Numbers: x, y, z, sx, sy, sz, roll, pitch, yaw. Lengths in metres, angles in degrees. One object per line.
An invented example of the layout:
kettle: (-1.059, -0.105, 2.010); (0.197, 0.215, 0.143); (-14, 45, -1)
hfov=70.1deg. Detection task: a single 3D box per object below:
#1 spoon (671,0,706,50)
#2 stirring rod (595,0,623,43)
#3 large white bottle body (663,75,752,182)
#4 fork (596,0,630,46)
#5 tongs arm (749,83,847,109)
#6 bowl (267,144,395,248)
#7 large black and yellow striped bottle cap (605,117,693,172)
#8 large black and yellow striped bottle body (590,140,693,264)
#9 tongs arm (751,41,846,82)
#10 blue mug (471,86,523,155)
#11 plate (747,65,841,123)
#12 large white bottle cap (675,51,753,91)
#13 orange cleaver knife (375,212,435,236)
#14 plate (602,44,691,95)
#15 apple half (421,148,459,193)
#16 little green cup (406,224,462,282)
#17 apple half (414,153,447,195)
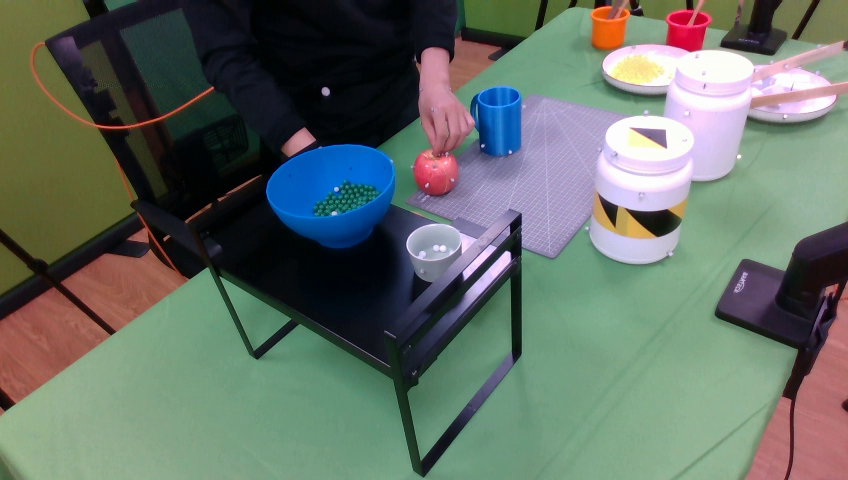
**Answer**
spoon: (0.628, -0.520, 1.394); (0.041, 0.022, 0.193); (30, 96, 34)
stirring rod: (0.460, -0.556, 1.460); (0.014, 0.006, 0.176); (30, 94, 23)
large white bottle body: (0.472, -0.207, 1.022); (0.130, 0.185, 0.130); (-4, 41, 4)
fork: (0.481, -0.556, 1.452); (0.028, 0.019, 0.207); (40, 103, 40)
tongs arm: (0.734, -0.280, 1.133); (0.388, 0.028, 0.028); (-9, 47, -5)
bowl: (-0.104, -0.043, 0.726); (0.151, 0.077, 0.150); (-4, 40, 4)
large black and yellow striped bottle cap: (0.309, -0.134, 0.833); (0.115, 0.019, 0.114); (-5, 40, 5)
large black and yellow striped bottle body: (0.317, -0.071, 0.889); (0.131, 0.185, 0.130); (-4, 41, 4)
tongs arm: (0.708, -0.331, 1.194); (0.386, 0.026, 0.050); (-18, 45, -16)
blue mug: (0.135, -0.235, 1.163); (0.082, 0.106, 0.115); (-36, 48, -28)
plate: (0.695, -0.283, 1.189); (0.207, 0.039, 0.206); (-4, 40, 4)
large white bottle cap: (0.464, -0.271, 0.967); (0.115, 0.018, 0.114); (-4, 40, 3)
orange cleaver knife: (-0.037, -0.023, 0.964); (0.209, 0.078, 0.012); (3, 65, 57)
plate: (0.495, -0.367, 1.317); (0.209, 0.038, 0.208); (-4, 40, 4)
apple half: (0.032, -0.128, 1.080); (0.053, 0.075, 0.080); (-33, 42, -32)
little green cup: (0.012, 0.015, 0.668); (0.061, 0.039, 0.061); (-4, 40, 4)
apple half: (0.005, -0.110, 1.060); (0.033, 0.081, 0.080); (-32, 46, -33)
